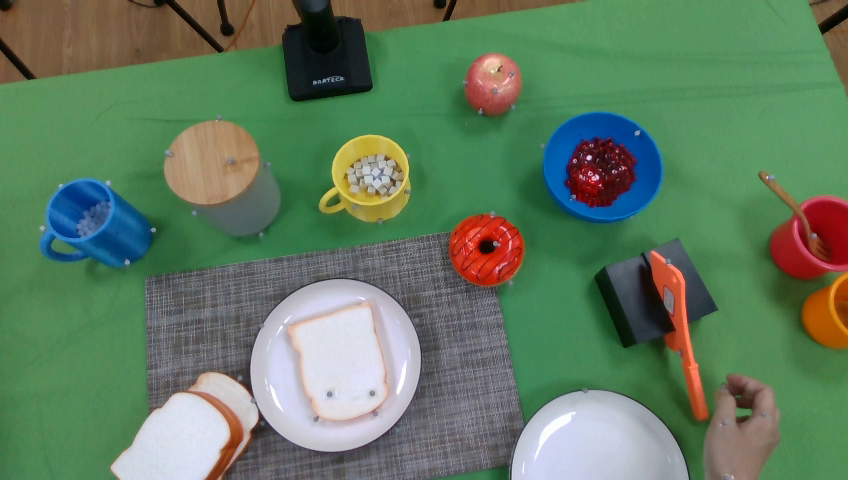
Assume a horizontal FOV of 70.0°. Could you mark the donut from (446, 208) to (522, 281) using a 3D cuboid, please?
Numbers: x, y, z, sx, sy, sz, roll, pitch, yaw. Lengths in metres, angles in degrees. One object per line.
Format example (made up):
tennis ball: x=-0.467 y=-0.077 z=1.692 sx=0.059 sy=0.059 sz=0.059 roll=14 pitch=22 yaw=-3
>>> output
donut: x=0.077 y=0.006 z=0.781 sx=0.099 sy=0.048 sz=0.098 roll=0 pitch=74 yaw=0

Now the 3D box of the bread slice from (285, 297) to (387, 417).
bread slice: x=-0.100 y=0.146 z=0.743 sx=0.107 sy=0.018 sz=0.133 roll=-19 pitch=73 yaw=-6

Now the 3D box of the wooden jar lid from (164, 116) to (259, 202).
wooden jar lid: x=-0.246 y=-0.092 z=0.706 sx=0.108 sy=0.021 sz=0.107 roll=0 pitch=71 yaw=1

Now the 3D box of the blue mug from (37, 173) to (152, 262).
blue mug: x=-0.419 y=-0.016 z=0.758 sx=0.116 sy=0.106 sz=0.082 roll=-34 pitch=75 yaw=-10

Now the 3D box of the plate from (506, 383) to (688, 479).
plate: x=0.198 y=0.274 z=0.706 sx=0.209 sy=0.038 sz=0.208 roll=0 pitch=73 yaw=1

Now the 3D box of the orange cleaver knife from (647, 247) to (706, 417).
orange cleaver knife: x=0.304 y=0.111 z=0.733 sx=0.012 sy=0.077 sz=0.212 roll=-18 pitch=103 yaw=-5

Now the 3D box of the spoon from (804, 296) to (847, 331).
spoon: x=0.554 y=0.064 z=0.714 sx=0.022 sy=0.193 sz=0.041 roll=4 pitch=63 yaw=-46

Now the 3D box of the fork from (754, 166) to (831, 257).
fork: x=0.456 y=-0.034 z=0.743 sx=0.209 sy=0.018 sz=0.028 roll=34 pitch=70 yaw=-33

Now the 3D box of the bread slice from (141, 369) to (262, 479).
bread slice: x=-0.253 y=0.223 z=0.718 sx=0.104 sy=0.019 sz=0.131 roll=29 pitch=76 yaw=8

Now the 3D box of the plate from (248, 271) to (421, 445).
plate: x=-0.107 y=0.143 z=0.742 sx=0.208 sy=0.039 sz=0.206 roll=0 pitch=73 yaw=0

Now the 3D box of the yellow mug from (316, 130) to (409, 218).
yellow mug: x=-0.085 y=-0.078 z=0.800 sx=0.131 sy=0.064 sz=0.099 roll=-32 pitch=76 yaw=-9

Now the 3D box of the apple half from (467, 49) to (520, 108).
apple half: x=0.103 y=-0.228 z=0.842 sx=0.053 sy=0.075 sz=0.080 roll=-39 pitch=73 yaw=-17

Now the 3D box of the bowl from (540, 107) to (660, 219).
bowl: x=0.222 y=-0.089 z=0.797 sx=0.151 sy=0.077 sz=0.150 roll=0 pitch=73 yaw=0

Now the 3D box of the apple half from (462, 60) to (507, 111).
apple half: x=0.075 y=-0.203 z=0.832 sx=0.033 sy=0.082 sz=0.081 roll=-40 pitch=76 yaw=-16

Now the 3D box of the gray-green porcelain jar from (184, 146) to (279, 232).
gray-green porcelain jar: x=-0.245 y=-0.073 z=0.766 sx=0.106 sy=0.127 sz=0.105 roll=0 pitch=72 yaw=0
